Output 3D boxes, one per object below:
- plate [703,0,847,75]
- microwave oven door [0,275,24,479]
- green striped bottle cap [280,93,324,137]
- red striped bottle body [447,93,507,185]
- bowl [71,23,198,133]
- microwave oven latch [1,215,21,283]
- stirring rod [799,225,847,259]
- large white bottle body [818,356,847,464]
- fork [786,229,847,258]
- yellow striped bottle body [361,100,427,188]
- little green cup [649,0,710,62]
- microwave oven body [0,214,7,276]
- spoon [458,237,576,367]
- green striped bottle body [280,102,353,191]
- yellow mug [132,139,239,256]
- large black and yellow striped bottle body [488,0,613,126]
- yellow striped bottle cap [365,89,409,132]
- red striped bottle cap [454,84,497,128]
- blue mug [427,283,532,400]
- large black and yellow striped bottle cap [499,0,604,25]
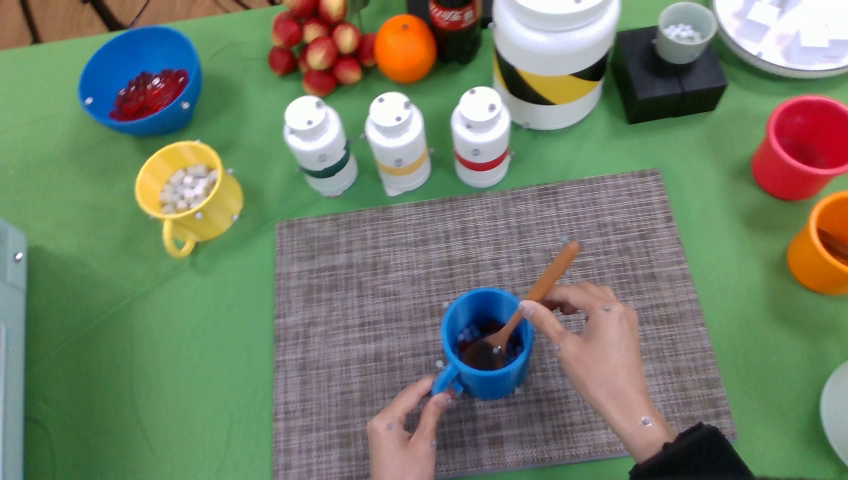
[{"bbox_3d":[0.450,-0.284,0.748,0.209,0.038,0.207,-2,67,5],"label":"plate"},{"bbox_3d":[-0.438,0.163,0.512,0.039,0.246,0.352,-17,65,-1],"label":"microwave oven door"},{"bbox_3d":[-0.129,-0.132,0.639,0.044,0.020,0.044,-1,67,3],"label":"green striped bottle cap"},{"bbox_3d":[0.060,-0.116,0.670,0.063,0.121,0.062,-3,65,8],"label":"red striped bottle body"},{"bbox_3d":[-0.349,-0.189,0.768,0.151,0.077,0.150,-2,66,5],"label":"bowl"},{"bbox_3d":[-0.483,0.013,0.694,0.030,0.030,0.078,-15,66,-1],"label":"microwave oven latch"},{"bbox_3d":[0.407,0.019,0.565,0.014,0.006,0.175,-5,22,1],"label":"stirring rod"},{"bbox_3d":[0.426,0.131,0.486,0.130,0.186,0.129,-2,65,6],"label":"large white bottle body"},{"bbox_3d":[0.437,0.016,0.555,0.028,0.019,0.205,-44,25,-13],"label":"fork"},{"bbox_3d":[-0.033,-0.114,0.678,0.063,0.121,0.062,-3,65,6],"label":"yellow striped bottle body"},{"bbox_3d":[0.287,-0.235,0.687,0.061,0.039,0.061,-1,63,3],"label":"little green cup"},{"bbox_3d":[-0.588,0.169,0.531,0.326,0.262,0.438,-16,66,-2],"label":"microwave oven body"},{"bbox_3d":[0.081,0.067,0.542,0.041,0.194,0.022,46,43,18],"label":"spoon"},{"bbox_3d":[-0.122,-0.110,0.687,0.063,0.120,0.062,-2,66,5],"label":"green striped bottle body"},{"bbox_3d":[-0.278,-0.045,0.703,0.100,0.064,0.130,2,67,6],"label":"yellow mug"},{"bbox_3d":[0.136,-0.229,0.676,0.130,0.185,0.129,-2,66,5],"label":"large black and yellow striped bottle body"},{"bbox_3d":[-0.039,-0.135,0.631,0.044,0.019,0.044,-2,67,5],"label":"yellow striped bottle cap"},{"bbox_3d":[0.053,-0.138,0.622,0.044,0.018,0.044,-1,64,2],"label":"red striped bottle cap"},{"bbox_3d":[0.047,0.109,0.576,0.116,0.107,0.081,-43,68,-12],"label":"blue mug"},{"bbox_3d":[0.127,-0.262,0.599,0.115,0.019,0.114,-3,65,6],"label":"large black and yellow striped bottle cap"}]
